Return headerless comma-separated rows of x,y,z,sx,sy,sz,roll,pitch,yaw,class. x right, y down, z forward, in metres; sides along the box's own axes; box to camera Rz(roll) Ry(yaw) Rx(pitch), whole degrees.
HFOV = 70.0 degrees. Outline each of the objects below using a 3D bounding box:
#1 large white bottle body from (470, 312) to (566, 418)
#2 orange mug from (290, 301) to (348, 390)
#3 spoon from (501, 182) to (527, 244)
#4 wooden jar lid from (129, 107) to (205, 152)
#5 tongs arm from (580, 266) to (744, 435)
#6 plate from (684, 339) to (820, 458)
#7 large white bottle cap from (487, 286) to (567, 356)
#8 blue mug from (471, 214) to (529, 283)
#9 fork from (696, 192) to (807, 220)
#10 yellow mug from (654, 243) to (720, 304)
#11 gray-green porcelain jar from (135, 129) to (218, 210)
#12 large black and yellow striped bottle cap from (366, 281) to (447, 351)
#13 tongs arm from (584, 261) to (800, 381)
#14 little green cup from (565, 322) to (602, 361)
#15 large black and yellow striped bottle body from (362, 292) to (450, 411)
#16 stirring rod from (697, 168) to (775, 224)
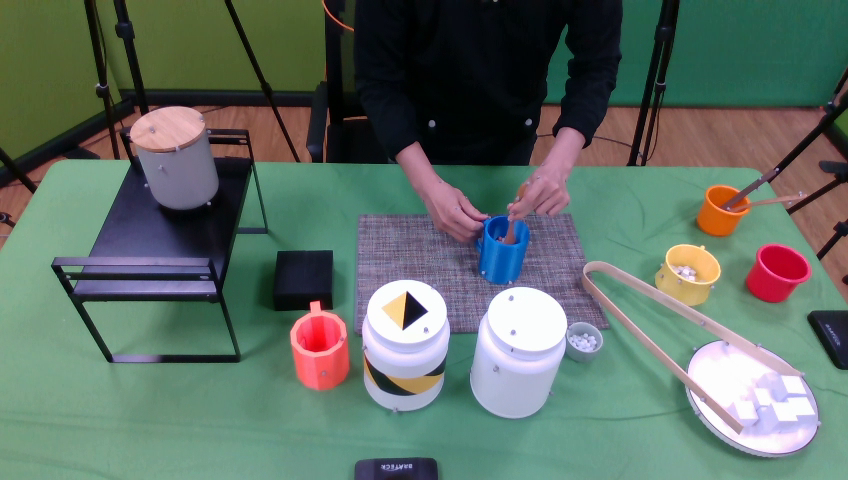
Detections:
0.143,0.173,0.930,0.131,0.185,0.130,2,46,-2,large white bottle body
-0.170,0.162,0.976,0.083,0.101,0.125,-7,52,-12,orange mug
0.157,-0.033,1.084,0.042,0.194,0.021,-10,46,-13,spoon
-0.385,-0.163,0.915,0.108,0.021,0.107,2,47,-2,wooden jar lid
0.384,0.173,1.028,0.028,0.028,0.385,-25,46,-15,tongs arm
0.523,0.256,0.982,0.208,0.039,0.206,2,46,-2,plate
0.147,0.114,0.869,0.115,0.018,0.114,3,46,-3,large white bottle cap
0.134,0.008,1.136,0.116,0.106,0.082,36,54,27,blue mug
0.655,-0.069,1.224,0.207,0.019,0.028,-17,33,45,fork
0.504,0.054,1.154,0.099,0.064,0.130,28,49,22,yellow mug
-0.388,-0.120,0.960,0.106,0.127,0.105,2,46,-2,gray-green porcelain jar
-0.025,0.106,0.866,0.115,0.019,0.114,2,46,-1,large black and yellow striped bottle cap
0.452,0.137,1.064,0.051,0.027,0.382,-34,50,-27,tongs arm
0.270,0.176,1.039,0.061,0.039,0.061,2,46,-2,little green cup
-0.029,0.163,0.928,0.131,0.185,0.130,2,47,-2,large black and yellow striped bottle body
0.644,-0.090,1.252,0.176,0.006,0.014,-40,53,16,stirring rod
